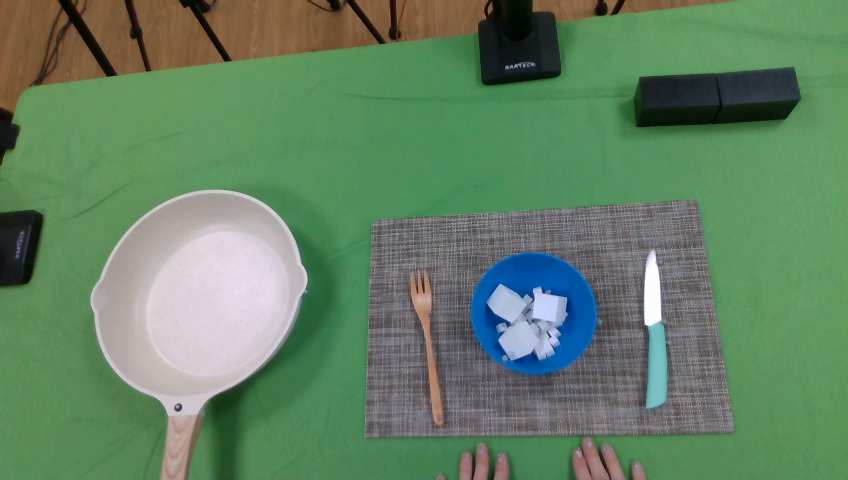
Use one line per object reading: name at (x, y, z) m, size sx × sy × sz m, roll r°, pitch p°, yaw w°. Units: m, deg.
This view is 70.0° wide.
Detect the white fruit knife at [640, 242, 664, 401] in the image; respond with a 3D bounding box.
white fruit knife at (0.287, 0.099, 0.765) m, size 0.027 × 0.016 × 0.206 m, roll 6°, pitch 71°, yaw 1°

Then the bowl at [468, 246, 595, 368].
bowl at (0.133, 0.091, 0.759) m, size 0.151 × 0.077 × 0.150 m, roll -3°, pitch 70°, yaw 8°

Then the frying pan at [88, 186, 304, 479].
frying pan at (-0.304, 0.161, 0.792) m, size 0.306 × 0.103 × 0.483 m, roll -4°, pitch 62°, yaw 8°

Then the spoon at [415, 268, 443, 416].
spoon at (0.007, 0.130, 0.794) m, size 0.041 × 0.022 × 0.192 m, roll -9°, pitch 67°, yaw 21°
